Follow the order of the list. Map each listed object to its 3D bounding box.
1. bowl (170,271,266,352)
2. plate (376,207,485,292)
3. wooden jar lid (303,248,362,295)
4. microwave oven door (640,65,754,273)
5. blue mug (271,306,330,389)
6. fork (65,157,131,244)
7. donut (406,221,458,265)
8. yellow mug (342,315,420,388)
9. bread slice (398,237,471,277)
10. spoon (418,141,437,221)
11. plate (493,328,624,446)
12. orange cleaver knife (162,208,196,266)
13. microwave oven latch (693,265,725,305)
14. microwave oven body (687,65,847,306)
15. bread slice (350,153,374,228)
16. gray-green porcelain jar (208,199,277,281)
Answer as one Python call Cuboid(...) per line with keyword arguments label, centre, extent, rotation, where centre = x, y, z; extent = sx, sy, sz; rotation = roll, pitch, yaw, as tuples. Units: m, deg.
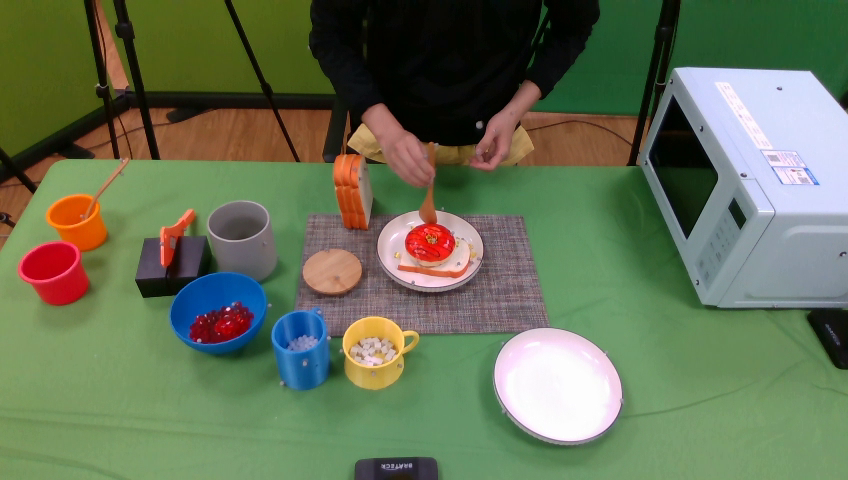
Cuboid(label="bowl", centre=(-0.333, 0.132, 1.006), extent=(0.151, 0.077, 0.150), rotation=(2, 46, -2))
Cuboid(label="plate", centre=(0.012, 0.021, 1.159), extent=(0.209, 0.038, 0.208), rotation=(2, 47, -2))
Cuboid(label="wooden jar lid", centre=(-0.169, 0.060, 1.122), extent=(0.108, 0.021, 0.107), rotation=(2, 46, -2))
Cuboid(label="microwave oven door", centre=(0.523, -0.147, 1.193), extent=(0.039, 0.245, 0.353), rotation=(0, 47, -3))
Cuboid(label="blue mug", centre=(-0.188, 0.163, 0.969), extent=(0.082, 0.106, 0.116), rotation=(15, 47, 10))
Cuboid(label="fork", centre=(-0.609, -0.074, 1.132), extent=(0.207, 0.019, 0.028), rotation=(-51, 50, 10))
Cuboid(label="donut", centre=(0.014, 0.004, 1.136), extent=(0.099, 0.048, 0.098), rotation=(1, 47, -1))
Cuboid(label="yellow mug", centre=(-0.068, 0.177, 0.990), extent=(0.131, 0.064, 0.099), rotation=(-15, 50, -19))
Cuboid(label="bread slice", centre=(0.025, 0.024, 1.160), extent=(0.131, 0.019, 0.104), rotation=(8, 47, 7))
Cuboid(label="spoon", centre=(0.009, -0.103, 1.117), extent=(0.041, 0.194, 0.021), rotation=(22, 44, 22))
Cuboid(label="plate", centre=(0.213, 0.236, 0.974), extent=(0.208, 0.039, 0.206), rotation=(2, 46, -2))
Cuboid(label="orange cleaver knife", centre=(-0.454, -0.010, 1.129), extent=(0.012, 0.077, 0.210), rotation=(-2, 17, -6))
Cuboid(label="microwave oven latch", centre=(0.523, 0.082, 1.116), extent=(0.030, 0.029, 0.078), rotation=(2, 46, -1))
Cuboid(label="microwave oven body", centre=(0.669, -0.111, 1.176), extent=(0.326, 0.261, 0.439), rotation=(0, 46, -3))
Cuboid(label="bread slice", centre=(-0.124, -0.103, 1.206), extent=(0.018, 0.135, 0.106), rotation=(-2, 47, 7))
Cuboid(label="gray-green porcelain jar", centre=(-0.323, 0.007, 1.092), extent=(0.106, 0.127, 0.105), rotation=(2, 46, -2))
